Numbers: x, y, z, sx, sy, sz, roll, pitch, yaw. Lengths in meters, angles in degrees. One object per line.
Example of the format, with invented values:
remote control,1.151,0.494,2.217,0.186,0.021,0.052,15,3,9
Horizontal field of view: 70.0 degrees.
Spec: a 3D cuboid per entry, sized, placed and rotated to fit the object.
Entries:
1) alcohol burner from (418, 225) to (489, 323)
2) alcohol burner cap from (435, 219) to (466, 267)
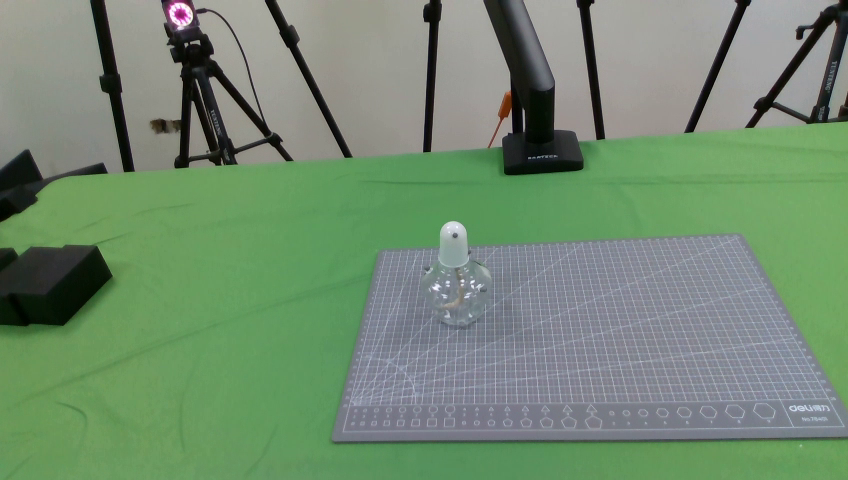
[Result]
alcohol burner,0.031,0.030,0.646,0.078,0.120,0.077,-4,36,3
alcohol burner cap,0.028,0.001,0.625,0.034,0.048,0.033,-1,36,1
